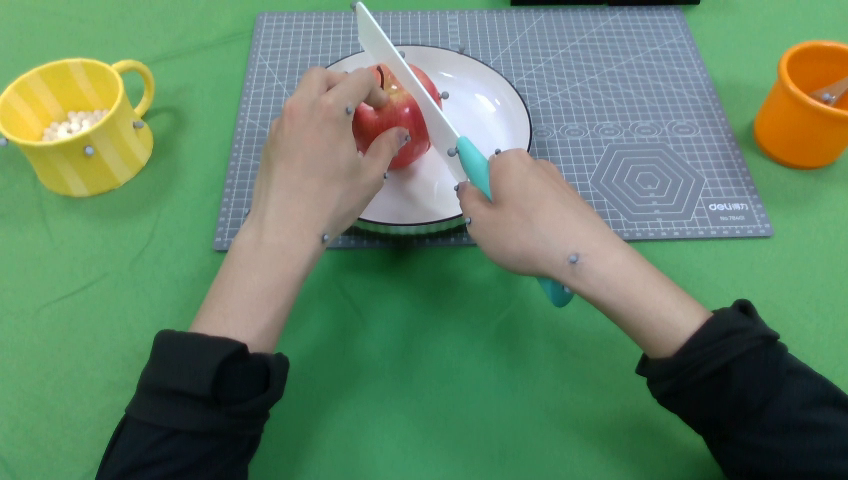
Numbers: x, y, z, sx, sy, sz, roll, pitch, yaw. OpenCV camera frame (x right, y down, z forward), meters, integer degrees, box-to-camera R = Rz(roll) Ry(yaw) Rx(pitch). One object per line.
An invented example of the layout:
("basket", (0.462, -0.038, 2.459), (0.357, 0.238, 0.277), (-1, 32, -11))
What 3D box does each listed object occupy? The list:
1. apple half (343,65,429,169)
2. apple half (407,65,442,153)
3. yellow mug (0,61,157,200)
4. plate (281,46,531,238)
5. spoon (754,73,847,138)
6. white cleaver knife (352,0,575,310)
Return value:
("apple half", (-0.037, -0.093, 0.493), (0.053, 0.075, 0.080), (-32, 67, -14))
("apple half", (-0.005, -0.112, 0.504), (0.033, 0.082, 0.080), (-31, 62, -16))
("yellow mug", (-0.282, -0.103, 0.516), (0.099, 0.064, 0.130), (28, 60, 17))
("plate", (-0.015, -0.085, 0.518), (0.209, 0.038, 0.207), (0, 57, 0))
("spoon", (0.369, -0.142, 0.494), (0.022, 0.194, 0.041), (25, 43, -37))
("white cleaver knife", (0.020, -0.069, 0.447), (0.021, 0.066, 0.284), (-29, 70, -10))
